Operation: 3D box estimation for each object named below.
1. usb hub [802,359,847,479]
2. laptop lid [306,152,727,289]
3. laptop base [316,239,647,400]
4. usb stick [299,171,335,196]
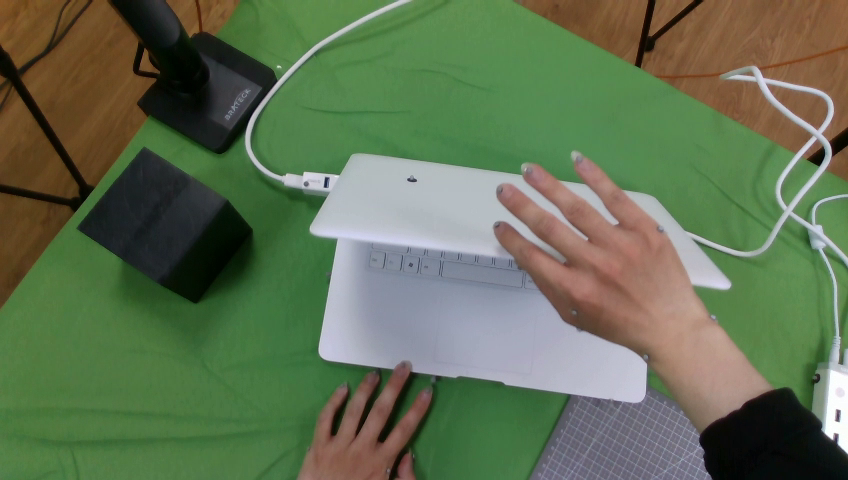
[{"bbox_3d":[0.441,0.195,0.650,0.049,0.025,0.124,15,74,2],"label":"usb hub"},{"bbox_3d":[0.083,-0.031,0.593,0.357,0.240,0.013,8,114,0],"label":"laptop lid"},{"bbox_3d":[0.073,0.039,0.678,0.354,0.023,0.234,8,77,0],"label":"laptop base"},{"bbox_3d":[-0.108,-0.062,0.680,0.059,0.027,0.021,7,80,-7],"label":"usb stick"}]
